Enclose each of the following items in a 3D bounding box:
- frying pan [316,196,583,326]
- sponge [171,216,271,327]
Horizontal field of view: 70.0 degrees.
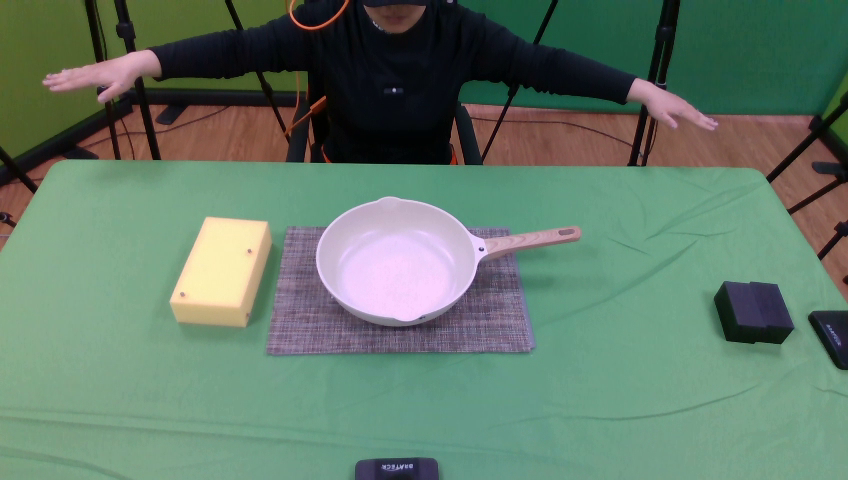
[{"bbox_3d":[0.054,0.027,1.114,0.488,0.103,0.304,-9,48,-1],"label":"frying pan"},{"bbox_3d":[-0.360,0.053,1.094,0.118,0.061,0.205,3,46,-1],"label":"sponge"}]
